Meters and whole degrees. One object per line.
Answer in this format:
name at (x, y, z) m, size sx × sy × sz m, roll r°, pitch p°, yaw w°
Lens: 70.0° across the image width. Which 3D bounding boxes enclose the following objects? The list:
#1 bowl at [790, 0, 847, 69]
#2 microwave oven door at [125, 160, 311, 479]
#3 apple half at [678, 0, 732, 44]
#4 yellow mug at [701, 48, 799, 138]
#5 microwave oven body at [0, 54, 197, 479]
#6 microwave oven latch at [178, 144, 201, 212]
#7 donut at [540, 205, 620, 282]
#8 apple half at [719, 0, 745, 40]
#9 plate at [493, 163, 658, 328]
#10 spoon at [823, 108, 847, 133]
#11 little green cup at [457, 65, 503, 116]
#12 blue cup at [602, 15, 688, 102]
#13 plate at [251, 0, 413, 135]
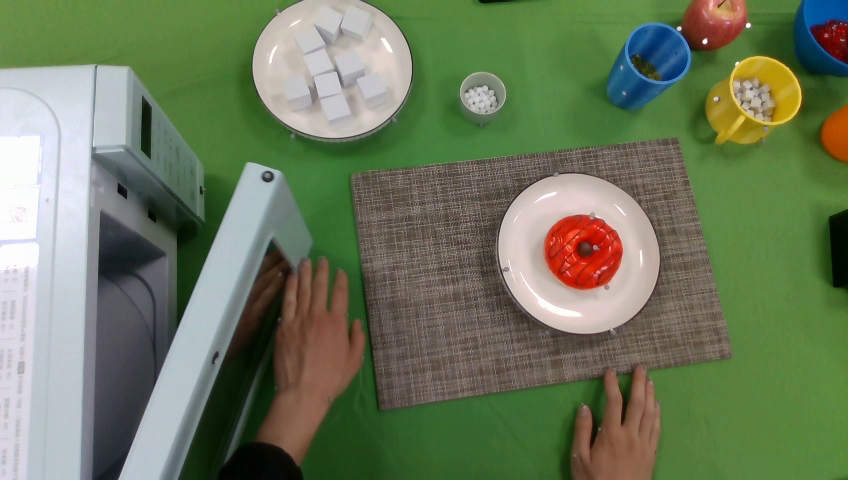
bowl at (0.576, -0.298, 0.850) m, size 0.151 × 0.077 × 0.150 m, roll 1°, pitch 78°, yaw -4°
microwave oven door at (-0.197, 0.123, 0.588) m, size 0.039 × 0.244 × 0.354 m, roll 17°, pitch 76°, yaw 0°
apple half at (0.383, -0.315, 0.841) m, size 0.053 × 0.075 × 0.080 m, roll -2°, pitch 80°, yaw -2°
yellow mug at (0.431, -0.187, 0.819) m, size 0.100 × 0.064 × 0.130 m, roll 40°, pitch 78°, yaw 4°
microwave oven body at (-0.409, 0.086, 0.584) m, size 0.326 × 0.261 × 0.439 m, roll -4°, pitch 78°, yaw -6°
microwave oven latch at (-0.286, -0.074, 0.729) m, size 0.030 × 0.029 × 0.079 m, roll 0°, pitch 78°, yaw -5°
donut at (0.194, 0.005, 0.754) m, size 0.099 × 0.048 × 0.098 m, roll 1°, pitch 78°, yaw -3°
apple half at (0.422, -0.317, 0.843) m, size 0.033 × 0.081 × 0.081 m, roll -2°, pitch 77°, yaw -2°
plate at (0.188, 0.008, 0.764) m, size 0.209 × 0.038 × 0.208 m, roll 1°, pitch 77°, yaw -4°
spoon at (0.622, -0.145, 0.782) m, size 0.041 × 0.192 × 0.022 m, roll -50°, pitch 129°, yaw -13°
little green cup at (0.072, -0.196, 0.806) m, size 0.061 × 0.039 × 0.061 m, roll 1°, pitch 77°, yaw -4°
blue cup at (0.282, -0.230, 0.798) m, size 0.093 × 0.100 × 0.092 m, roll 1°, pitch 78°, yaw -5°
plate at (-0.119, -0.231, 0.799) m, size 0.208 × 0.039 × 0.206 m, roll 1°, pitch 77°, yaw -4°
